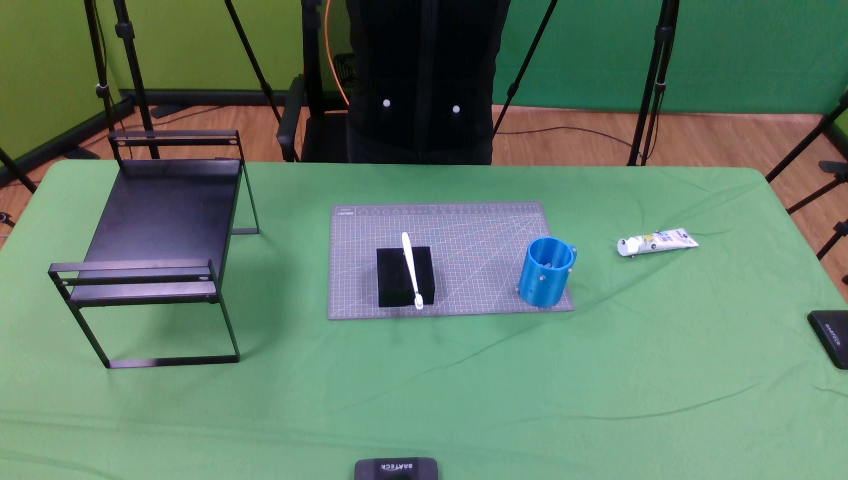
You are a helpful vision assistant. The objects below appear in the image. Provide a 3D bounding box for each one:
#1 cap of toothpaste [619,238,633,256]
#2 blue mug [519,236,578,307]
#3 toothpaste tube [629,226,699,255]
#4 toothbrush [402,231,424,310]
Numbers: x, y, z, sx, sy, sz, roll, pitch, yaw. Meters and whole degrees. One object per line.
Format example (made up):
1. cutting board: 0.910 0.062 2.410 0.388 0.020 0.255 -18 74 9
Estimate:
1. cap of toothpaste: 0.400 0.013 1.200 0.011 0.037 0.037 -10 48 -18
2. blue mug: 0.234 0.052 1.102 0.116 0.106 0.082 -23 52 -24
3. toothpaste tube: 0.475 0.003 1.223 0.165 0.035 0.054 -10 52 -18
4. toothbrush: -0.022 0.049 1.080 0.014 0.017 0.180 -9 47 -5
